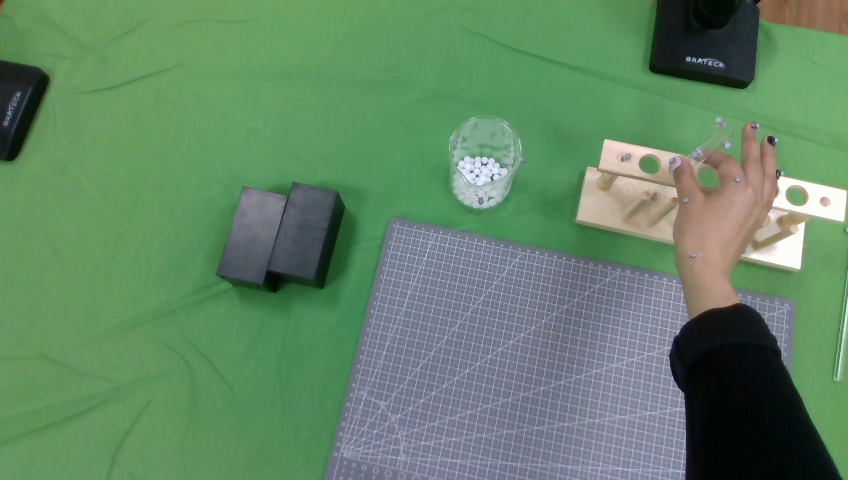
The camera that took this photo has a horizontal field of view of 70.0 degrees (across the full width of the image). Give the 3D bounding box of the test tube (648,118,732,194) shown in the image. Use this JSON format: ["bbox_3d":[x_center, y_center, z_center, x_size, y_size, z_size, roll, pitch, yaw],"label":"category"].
[{"bbox_3d":[0.258,-0.078,0.601,0.017,0.151,0.017,1,73,-3],"label":"test tube"}]

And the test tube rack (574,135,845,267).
[{"bbox_3d":[0.293,-0.039,0.641,0.242,0.085,0.066,13,76,4],"label":"test tube rack"}]

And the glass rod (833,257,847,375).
[{"bbox_3d":[0.457,0.048,0.655,0.008,0.008,0.199,16,76,5],"label":"glass rod"}]

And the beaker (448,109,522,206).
[{"bbox_3d":[0.061,-0.080,0.649,0.074,0.101,0.083,15,77,5],"label":"beaker"}]
